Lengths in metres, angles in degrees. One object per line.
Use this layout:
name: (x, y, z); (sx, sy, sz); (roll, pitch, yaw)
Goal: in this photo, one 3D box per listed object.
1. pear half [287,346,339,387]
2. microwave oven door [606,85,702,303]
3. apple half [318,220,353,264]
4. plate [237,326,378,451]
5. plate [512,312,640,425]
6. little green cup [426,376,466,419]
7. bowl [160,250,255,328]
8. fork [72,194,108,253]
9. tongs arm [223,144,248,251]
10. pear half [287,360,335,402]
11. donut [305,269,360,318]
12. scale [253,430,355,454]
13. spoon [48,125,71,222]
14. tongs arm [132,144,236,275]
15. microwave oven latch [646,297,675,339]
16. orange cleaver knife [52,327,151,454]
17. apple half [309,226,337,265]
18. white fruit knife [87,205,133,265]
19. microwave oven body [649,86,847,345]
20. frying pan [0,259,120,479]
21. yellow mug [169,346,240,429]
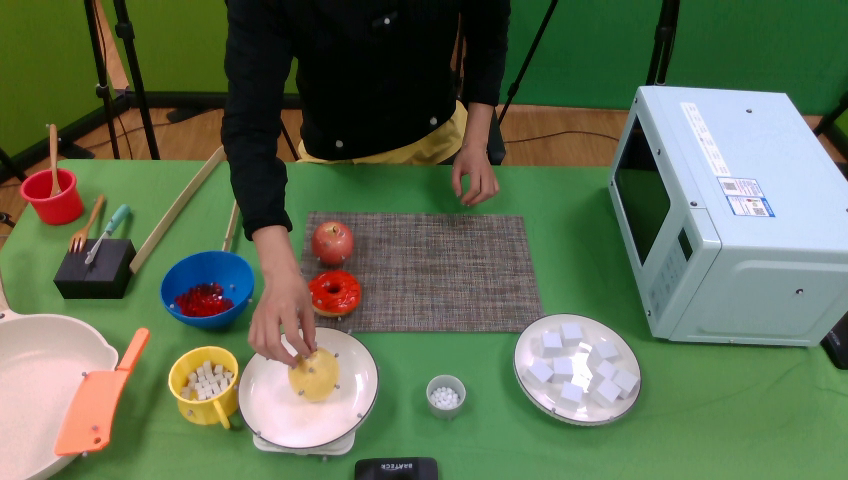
pear half: (-0.165, 0.179, 0.899); (0.076, 0.110, 0.055); (0, 46, -6)
microwave oven door: (0.422, -0.094, 1.140); (0.039, 0.245, 0.353); (2, 46, -1)
apple half: (-0.162, 0.001, 1.144); (0.053, 0.075, 0.080); (-25, 50, -29)
plate: (-0.173, 0.224, 0.917); (0.209, 0.038, 0.208); (2, 46, -2)
plate: (0.246, 0.213, 0.999); (0.208, 0.039, 0.206); (2, 46, -2)
little green cup: (0.033, 0.248, 0.950); (0.061, 0.039, 0.061); (2, 46, -2)
bowl: (-0.362, 0.098, 1.039); (0.151, 0.077, 0.150); (2, 45, -2)
fork: (-0.634, -0.036, 1.158); (0.028, 0.019, 0.206); (-7, 32, -9)
tongs arm: (-0.397, -0.073, 1.232); (0.051, 0.027, 0.382); (-3, 45, 1)
pear half: (-0.165, 0.212, 0.881); (0.070, 0.088, 0.031); (-1, 45, -7)
donut: (-0.161, 0.095, 1.075); (0.099, 0.048, 0.098); (4, 45, -4)
scale: (-0.175, 0.236, 0.951); (0.149, 0.032, 0.199); (4, 45, 0)
spoon: (-0.718, -0.131, 1.188); (0.041, 0.021, 0.193); (-3, 90, -6)
tongs arm: (-0.484, -0.075, 1.237); (0.028, 0.028, 0.385); (5, 45, 14)
microwave oven latch: (0.412, 0.134, 1.061); (0.030, 0.029, 0.078); (4, 45, 1)
orange cleaver knife: (-0.462, 0.212, 0.879); (0.077, 0.012, 0.210); (6, 45, -2)
apple half: (-0.193, 0.017, 1.125); (0.033, 0.081, 0.081); (-27, 53, -31)
white fruit knife: (-0.584, -0.013, 1.129); (0.016, 0.027, 0.206); (0, 31, -4)
microwave oven body: (0.567, -0.053, 1.118); (0.326, 0.261, 0.439); (2, 45, -1)
frying pan: (-0.647, 0.164, 0.936); (0.307, 0.103, 0.485); (-19, 58, -22)
yellow mug: (-0.323, 0.230, 0.922); (0.100, 0.064, 0.130); (-24, 53, -25)
